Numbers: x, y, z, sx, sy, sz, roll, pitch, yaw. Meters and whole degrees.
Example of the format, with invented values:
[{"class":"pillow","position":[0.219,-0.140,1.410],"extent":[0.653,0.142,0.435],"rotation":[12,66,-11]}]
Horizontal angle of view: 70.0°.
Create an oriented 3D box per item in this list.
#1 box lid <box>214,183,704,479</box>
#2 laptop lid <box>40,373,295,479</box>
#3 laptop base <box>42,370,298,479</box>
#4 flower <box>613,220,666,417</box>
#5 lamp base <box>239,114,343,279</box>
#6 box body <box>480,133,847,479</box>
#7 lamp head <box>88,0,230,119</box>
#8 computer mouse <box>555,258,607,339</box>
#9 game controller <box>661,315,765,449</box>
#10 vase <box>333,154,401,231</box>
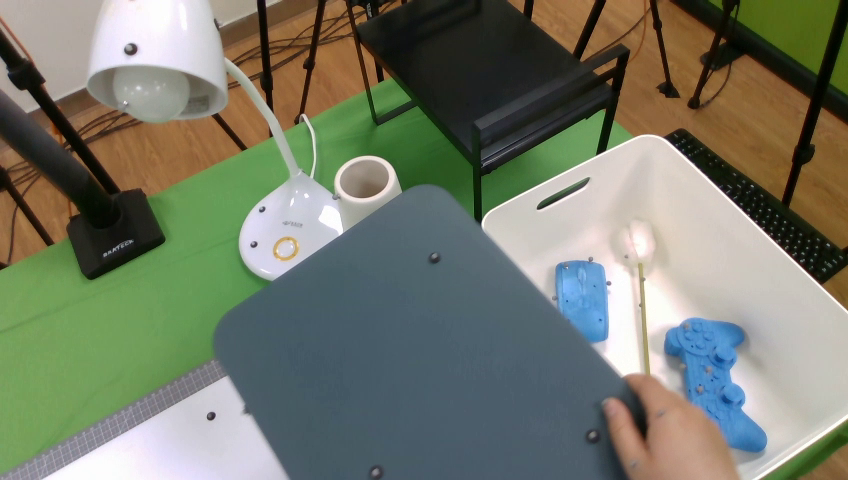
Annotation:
[{"class":"box lid","position":[0.012,0.130,0.507],"extent":[0.263,0.015,0.368],"rotation":[-36,65,-13]},{"class":"laptop lid","position":[-0.313,0.321,0.655],"extent":[0.357,0.013,0.239],"rotation":[-28,61,-12]},{"class":"laptop base","position":[-0.313,0.325,0.666],"extent":[0.354,0.023,0.233],"rotation":[-29,63,-13]},{"class":"flower","position":[0.272,0.131,0.728],"extent":[0.044,0.038,0.358],"rotation":[-17,52,27]},{"class":"lamp base","position":[-0.192,-0.064,0.810],"extent":[0.160,0.182,0.177],"rotation":[-1,55,5]},{"class":"box body","position":[0.257,0.088,0.682],"extent":[0.254,0.162,0.360],"rotation":[-27,59,-12]},{"class":"lamp head","position":[-0.225,-0.178,0.528],"extent":[0.112,0.113,0.122],"rotation":[-4,75,3]},{"class":"computer mouse","position":[0.198,0.070,0.765],"extent":[0.062,0.041,0.116],"rotation":[2,53,10]},{"class":"game controller","position":[0.330,0.156,0.695],"extent":[0.097,0.052,0.154],"rotation":[1,56,7]},{"class":"vase","position":[-0.059,-0.017,0.756],"extent":[0.098,0.202,0.097],"rotation":[-3,56,6]}]
